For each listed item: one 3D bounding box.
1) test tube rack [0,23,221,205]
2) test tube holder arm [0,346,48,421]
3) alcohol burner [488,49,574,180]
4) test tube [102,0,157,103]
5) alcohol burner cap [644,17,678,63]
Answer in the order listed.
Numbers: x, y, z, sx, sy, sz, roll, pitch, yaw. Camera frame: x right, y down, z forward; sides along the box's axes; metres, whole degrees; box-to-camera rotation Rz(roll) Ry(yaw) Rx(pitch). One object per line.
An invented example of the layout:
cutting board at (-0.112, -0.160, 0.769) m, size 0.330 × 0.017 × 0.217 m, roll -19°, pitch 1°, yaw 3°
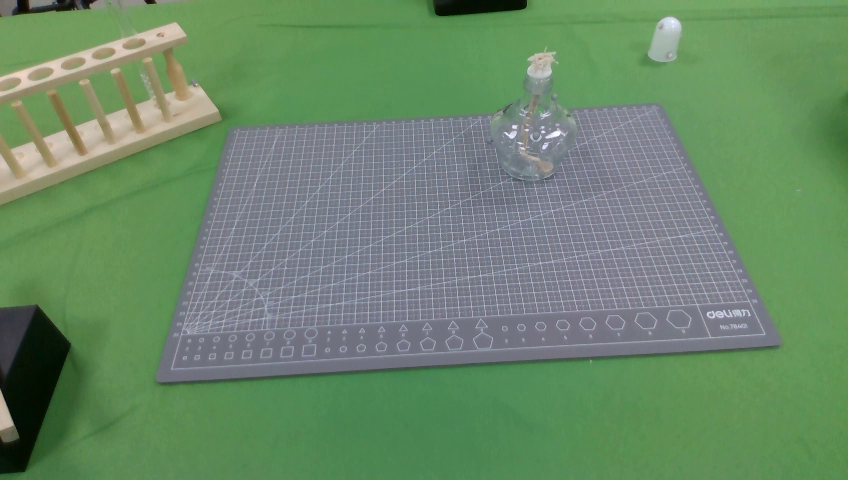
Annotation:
test tube rack at (-0.336, -0.123, 0.590) m, size 0.242 × 0.086 × 0.066 m, roll -27°, pitch 52°, yaw -21°
test tube holder arm at (-0.294, 0.062, 0.399) m, size 0.177 × 0.015 × 0.013 m, roll 30°, pitch 58°, yaw 28°
alcohol burner at (0.096, -0.113, 0.536) m, size 0.078 × 0.120 × 0.077 m, roll -1°, pitch 46°, yaw 1°
test tube at (-0.289, -0.200, 0.590) m, size 0.017 × 0.152 × 0.017 m, roll -3°, pitch 45°, yaw 4°
alcohol burner cap at (0.271, -0.228, 0.686) m, size 0.034 × 0.048 × 0.033 m, roll -2°, pitch 48°, yaw 3°
